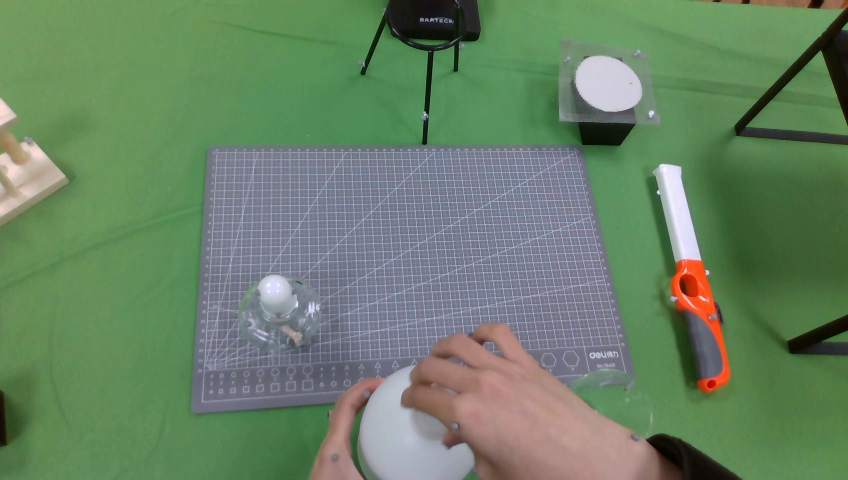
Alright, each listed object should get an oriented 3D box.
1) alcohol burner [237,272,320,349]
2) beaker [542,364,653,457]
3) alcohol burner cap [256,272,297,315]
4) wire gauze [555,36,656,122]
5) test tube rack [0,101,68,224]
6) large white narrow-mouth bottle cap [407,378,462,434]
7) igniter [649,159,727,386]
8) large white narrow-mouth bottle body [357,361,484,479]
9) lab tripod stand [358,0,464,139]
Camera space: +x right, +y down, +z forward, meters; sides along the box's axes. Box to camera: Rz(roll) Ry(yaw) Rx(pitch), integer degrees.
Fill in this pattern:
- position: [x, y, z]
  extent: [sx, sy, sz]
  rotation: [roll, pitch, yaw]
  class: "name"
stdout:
- position: [-0.137, 0.060, 0.569]
  extent: [0.078, 0.120, 0.077]
  rotation: [4, 63, -8]
  class: "alcohol burner"
- position: [0.156, 0.164, 0.576]
  extent: [0.084, 0.101, 0.073]
  rotation: [29, 65, 7]
  class: "beaker"
- position: [-0.132, 0.046, 0.536]
  extent: [0.034, 0.048, 0.033]
  rotation: [2, 70, -4]
  class: "alcohol burner cap"
- position: [0.220, -0.198, 0.747]
  extent: [0.122, 0.011, 0.124]
  rotation: [5, 65, -6]
  class: "wire gauze"
- position: [-0.485, -0.029, 0.577]
  extent: [0.066, 0.085, 0.242]
  rotation: [43, 67, 12]
  class: "test tube rack"
- position: [0.008, 0.117, 0.425]
  extent: [0.038, 0.024, 0.037]
  rotation: [3, 65, -7]
  class: "large white narrow-mouth bottle cap"
- position: [0.302, 0.030, 0.698]
  extent: [0.057, 0.025, 0.274]
  rotation: [5, 65, -17]
  class: "igniter"
- position: [-0.004, 0.156, 0.504]
  extent: [0.102, 0.196, 0.101]
  rotation: [3, 64, -6]
  class: "large white narrow-mouth bottle body"
- position: [-0.006, -0.214, 0.707]
  extent: [0.149, 0.132, 0.147]
  rotation: [4, 66, -8]
  class: "lab tripod stand"
